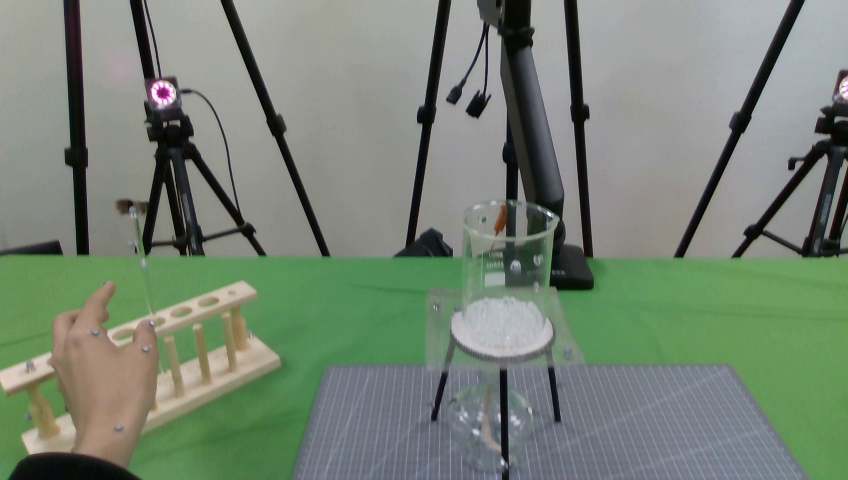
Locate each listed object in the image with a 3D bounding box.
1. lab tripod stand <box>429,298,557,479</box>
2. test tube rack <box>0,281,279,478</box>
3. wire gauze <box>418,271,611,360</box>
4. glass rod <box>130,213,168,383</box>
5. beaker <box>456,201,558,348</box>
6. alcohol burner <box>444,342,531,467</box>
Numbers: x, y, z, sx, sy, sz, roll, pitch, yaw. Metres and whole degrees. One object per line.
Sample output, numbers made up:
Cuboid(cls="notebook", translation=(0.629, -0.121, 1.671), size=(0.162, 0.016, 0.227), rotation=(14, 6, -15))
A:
Cuboid(cls="lab tripod stand", translation=(0.066, 0.132, 0.533), size=(0.148, 0.132, 0.147), rotation=(1, 27, 0))
Cuboid(cls="test tube rack", translation=(-0.276, 0.129, 0.616), size=(0.243, 0.086, 0.066), rotation=(-22, 32, -37))
Cuboid(cls="wire gauze", translation=(0.069, 0.060, 0.494), size=(0.125, 0.011, 0.120), rotation=(-5, 23, -19))
Cuboid(cls="glass rod", translation=(-0.271, 0.065, 0.598), size=(0.008, 0.201, 0.008), rotation=(3, 28, -1))
Cuboid(cls="beaker", translation=(0.066, 0.028, 0.485), size=(0.084, 0.101, 0.073), rotation=(-10, 28, -19))
Cuboid(cls="alcohol burner", translation=(0.057, 0.141, 0.538), size=(0.078, 0.120, 0.077), rotation=(1, 25, 0))
